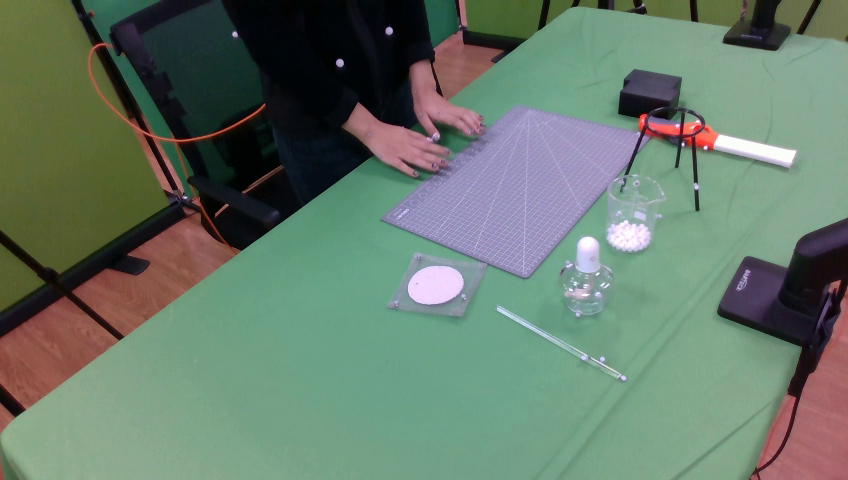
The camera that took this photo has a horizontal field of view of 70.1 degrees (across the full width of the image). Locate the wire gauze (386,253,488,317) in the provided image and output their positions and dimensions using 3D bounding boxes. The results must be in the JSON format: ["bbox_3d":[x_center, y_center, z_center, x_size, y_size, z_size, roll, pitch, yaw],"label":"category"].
[{"bbox_3d":[0.021,0.066,0.910,0.121,0.011,0.125,9,41,20],"label":"wire gauze"}]

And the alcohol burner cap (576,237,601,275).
[{"bbox_3d":[0.216,0.018,0.793,0.034,0.048,0.033,-7,35,6],"label":"alcohol burner cap"}]

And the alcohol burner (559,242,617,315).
[{"bbox_3d":[0.222,0.045,0.816,0.078,0.119,0.077,-4,42,4],"label":"alcohol burner"}]

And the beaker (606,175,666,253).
[{"bbox_3d":[0.314,-0.036,0.906,0.083,0.101,0.074,15,46,25],"label":"beaker"}]

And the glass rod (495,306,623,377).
[{"bbox_3d":[0.174,0.132,0.804,0.198,0.008,0.008,27,52,35],"label":"glass rod"}]

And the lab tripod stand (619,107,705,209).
[{"bbox_3d":[0.400,-0.136,0.981,0.148,0.132,0.147,-4,41,4],"label":"lab tripod stand"}]

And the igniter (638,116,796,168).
[{"bbox_3d":[0.517,-0.181,1.093,0.274,0.025,0.057,23,65,32],"label":"igniter"}]
